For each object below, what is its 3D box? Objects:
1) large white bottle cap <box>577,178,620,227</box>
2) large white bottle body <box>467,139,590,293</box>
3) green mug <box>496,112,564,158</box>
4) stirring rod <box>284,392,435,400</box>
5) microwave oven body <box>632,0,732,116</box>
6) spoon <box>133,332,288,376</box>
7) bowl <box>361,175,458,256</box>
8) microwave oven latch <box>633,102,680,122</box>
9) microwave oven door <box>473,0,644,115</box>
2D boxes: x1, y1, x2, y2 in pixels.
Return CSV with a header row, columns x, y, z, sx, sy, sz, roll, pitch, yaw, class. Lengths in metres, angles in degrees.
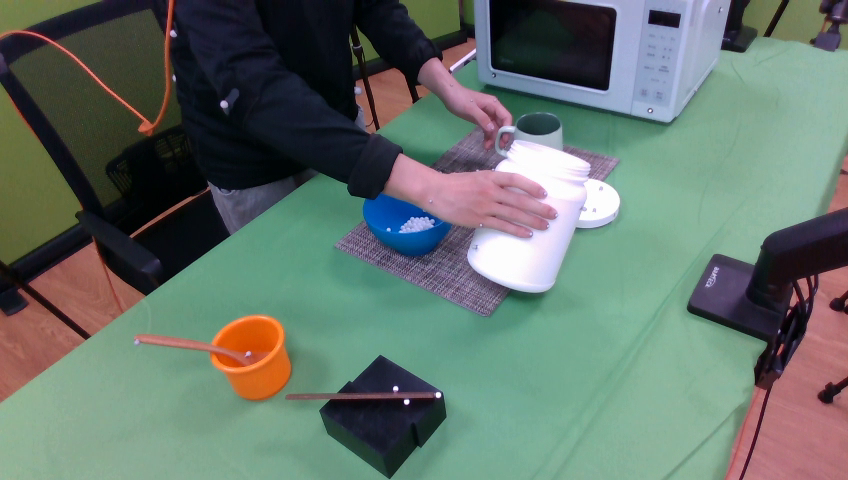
x,y,z,sx,sy,sz,roll,pitch,yaw,class
0.265,-0.064,1.000,0.115,0.018,0.114,-1,43,2,large white bottle cap
0.146,-0.035,0.832,0.131,0.184,0.130,15,19,-5,large white bottle body
0.184,-0.161,1.061,0.124,0.105,0.092,15,46,24,green mug
-0.075,0.180,0.698,0.176,0.006,0.014,-1,6,7,stirring rod
0.377,-0.463,1.267,0.438,0.261,0.327,21,48,30,microwave oven body
-0.257,0.137,0.747,0.021,0.195,0.041,-47,40,23,spoon
-0.018,-0.029,0.955,0.151,0.077,0.150,-4,40,4,bowl
0.443,-0.249,1.157,0.078,0.029,0.030,21,49,30,microwave oven latch
0.257,-0.396,1.199,0.353,0.245,0.039,21,48,29,microwave oven door
